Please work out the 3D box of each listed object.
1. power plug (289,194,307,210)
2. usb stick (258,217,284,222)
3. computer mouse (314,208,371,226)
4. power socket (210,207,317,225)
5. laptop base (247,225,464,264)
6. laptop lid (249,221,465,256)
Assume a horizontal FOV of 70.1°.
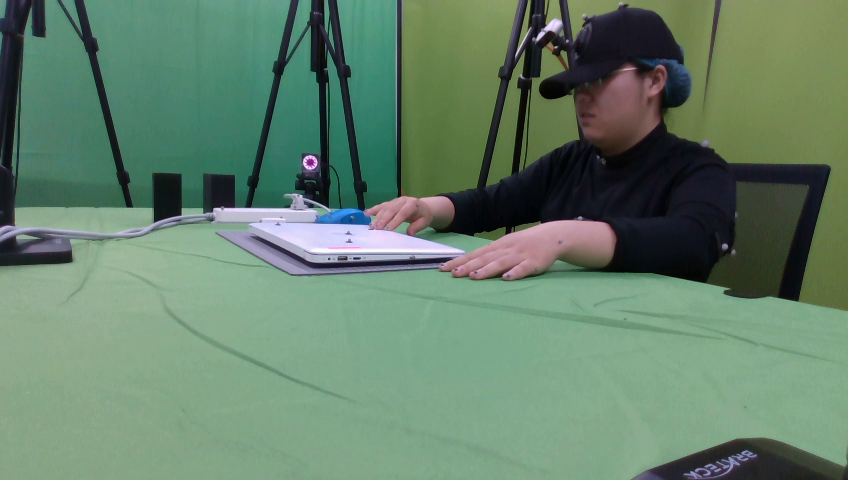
[{"bbox_3d":[-0.281,-0.076,1.340,0.035,0.052,0.072,3,5,-17],"label":"power plug"},{"bbox_3d":[-0.290,-0.028,1.119,0.059,0.027,0.021,-3,13,-29],"label":"usb stick"},{"bbox_3d":[-0.174,-0.047,1.291,0.118,0.041,0.062,-7,13,-33],"label":"computer mouse"},{"bbox_3d":[-0.335,-0.051,1.281,0.228,0.032,0.072,-1,8,-28],"label":"power socket"},{"bbox_3d":[-0.124,0.006,0.955,0.237,0.023,0.352,2,6,-30],"label":"laptop base"},{"bbox_3d":[-0.122,-0.005,0.955,0.243,0.013,0.355,1,7,-28],"label":"laptop lid"}]
